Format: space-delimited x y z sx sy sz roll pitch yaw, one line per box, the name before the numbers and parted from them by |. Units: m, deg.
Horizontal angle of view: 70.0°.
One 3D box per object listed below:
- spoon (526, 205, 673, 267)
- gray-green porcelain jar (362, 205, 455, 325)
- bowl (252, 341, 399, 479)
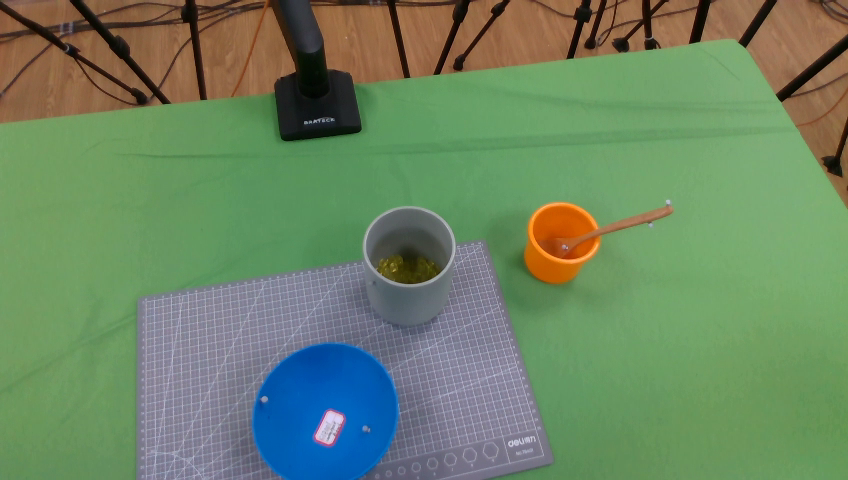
spoon | 0.213 -0.006 0.753 0.022 0.193 0.041 28 51 -39
gray-green porcelain jar | -0.019 0.036 0.725 0.106 0.127 0.105 1 60 -2
bowl | -0.103 0.194 0.657 0.151 0.077 0.150 2 60 -3
